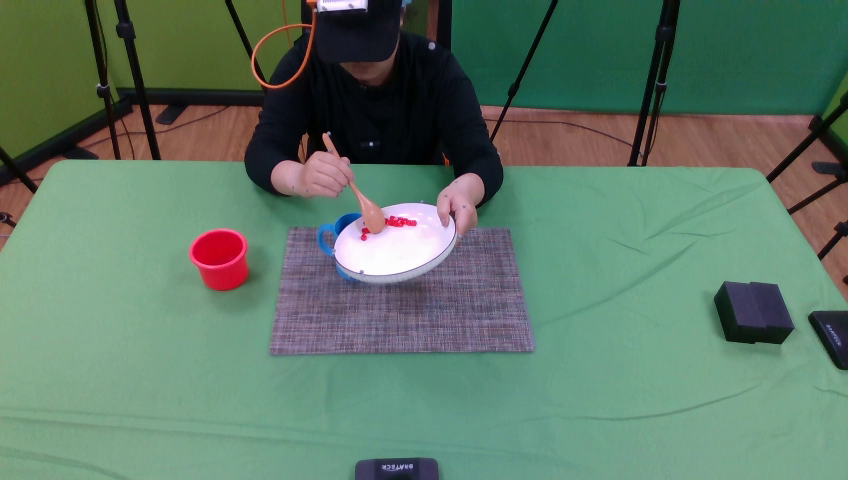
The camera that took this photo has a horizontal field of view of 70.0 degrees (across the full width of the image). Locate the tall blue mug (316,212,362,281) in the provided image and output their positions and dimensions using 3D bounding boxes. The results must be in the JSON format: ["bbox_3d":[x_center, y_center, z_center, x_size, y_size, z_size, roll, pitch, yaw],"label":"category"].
[{"bbox_3d":[-0.142,0.014,1.109,0.107,0.108,0.077,-4,48,-8],"label":"tall blue mug"}]

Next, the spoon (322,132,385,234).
[{"bbox_3d":[-0.125,-0.097,1.040,0.041,0.021,0.194,-34,95,-26],"label":"spoon"}]

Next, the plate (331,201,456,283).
[{"bbox_3d":[-0.048,0.006,1.000,0.207,0.039,0.206,-9,34,6],"label":"plate"}]
